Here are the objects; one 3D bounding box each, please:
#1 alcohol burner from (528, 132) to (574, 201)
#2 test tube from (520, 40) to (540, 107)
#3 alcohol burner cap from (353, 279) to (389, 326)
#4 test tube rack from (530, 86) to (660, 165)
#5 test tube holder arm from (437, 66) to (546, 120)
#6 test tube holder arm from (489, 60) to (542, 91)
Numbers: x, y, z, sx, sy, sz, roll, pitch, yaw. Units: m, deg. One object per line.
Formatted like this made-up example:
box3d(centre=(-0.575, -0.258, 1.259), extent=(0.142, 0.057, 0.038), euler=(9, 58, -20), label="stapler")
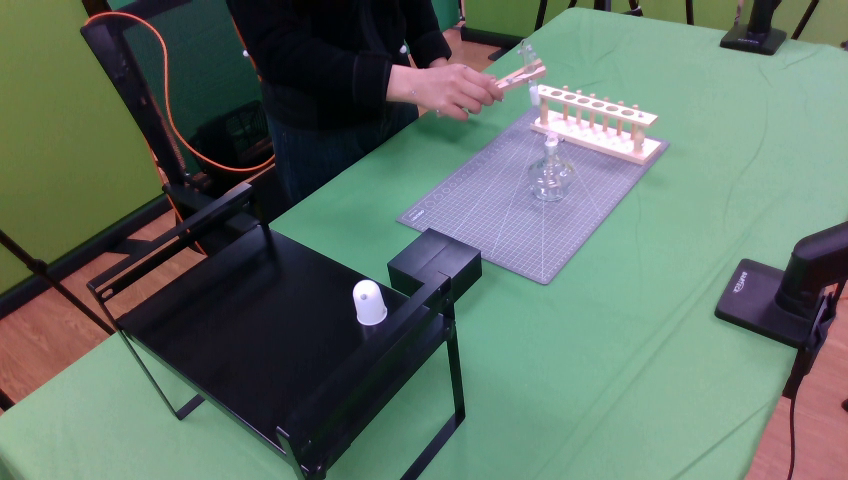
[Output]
box3d(centre=(0.214, -0.126, 1.016), extent=(0.078, 0.119, 0.077), euler=(-5, 38, 5), label="alcohol burner")
box3d(centre=(0.166, -0.254, 0.938), extent=(0.017, 0.151, 0.017), euler=(-6, 66, 14), label="test tube")
box3d(centre=(-0.055, 0.061, 0.616), extent=(0.034, 0.048, 0.033), euler=(-5, 41, 4), label="alcohol burner cap")
box3d(centre=(0.320, -0.226, 1.140), extent=(0.240, 0.085, 0.067), euler=(27, 51, 34), label="test tube rack")
box3d(centre=(0.103, -0.227, 0.936), extent=(0.178, 0.015, 0.013), euler=(-23, 59, 6), label="test tube holder arm")
box3d(centre=(0.142, -0.250, 0.935), extent=(0.088, 0.015, 0.010), euler=(-29, 59, 2), label="test tube holder arm")
